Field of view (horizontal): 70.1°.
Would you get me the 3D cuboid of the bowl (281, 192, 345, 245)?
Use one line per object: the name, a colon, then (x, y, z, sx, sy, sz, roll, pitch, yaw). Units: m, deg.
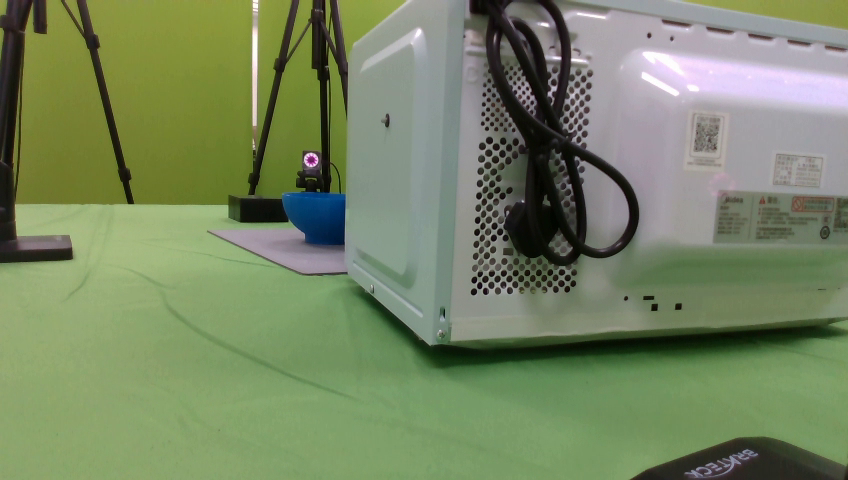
bowl: (-0.158, -0.035, 0.990, 0.151, 0.077, 0.151, 3, 7, 0)

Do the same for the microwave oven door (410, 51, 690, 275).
microwave oven door: (0.161, -0.084, 0.722, 0.357, 0.243, 0.039, 0, 8, -20)

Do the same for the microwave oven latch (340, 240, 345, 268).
microwave oven latch: (-0.052, 0.017, 0.660, 0.079, 0.029, 0.030, 1, 7, -17)

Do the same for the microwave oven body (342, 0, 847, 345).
microwave oven body: (0.169, -0.059, 0.572, 0.444, 0.260, 0.324, 1, 7, -20)
